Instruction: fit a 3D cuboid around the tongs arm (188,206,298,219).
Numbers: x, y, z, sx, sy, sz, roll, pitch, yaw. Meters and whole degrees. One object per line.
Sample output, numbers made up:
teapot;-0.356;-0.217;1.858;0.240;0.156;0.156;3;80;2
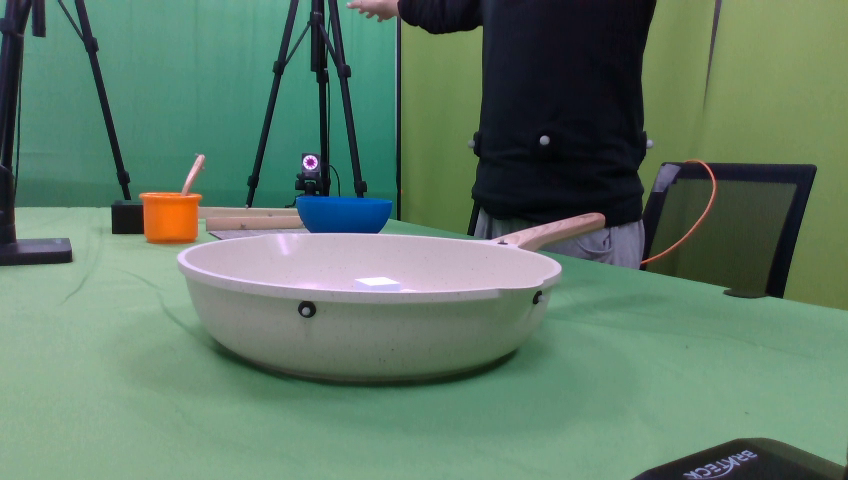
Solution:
tongs arm;-0.301;-0.055;1.308;0.387;0.026;0.050;-1;9;-29

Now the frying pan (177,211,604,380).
frying pan;0.034;0.019;0.556;0.490;0.102;0.305;-15;18;-42

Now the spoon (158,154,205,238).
spoon;-0.392;-0.076;0.998;0.041;0.193;0.021;1;-36;6

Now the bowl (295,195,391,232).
bowl;-0.127;-0.027;0.946;0.151;0.077;0.151;2;7;0

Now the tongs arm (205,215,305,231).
tongs arm;-0.257;-0.040;1.241;0.390;0.028;0.028;-4;8;-42
